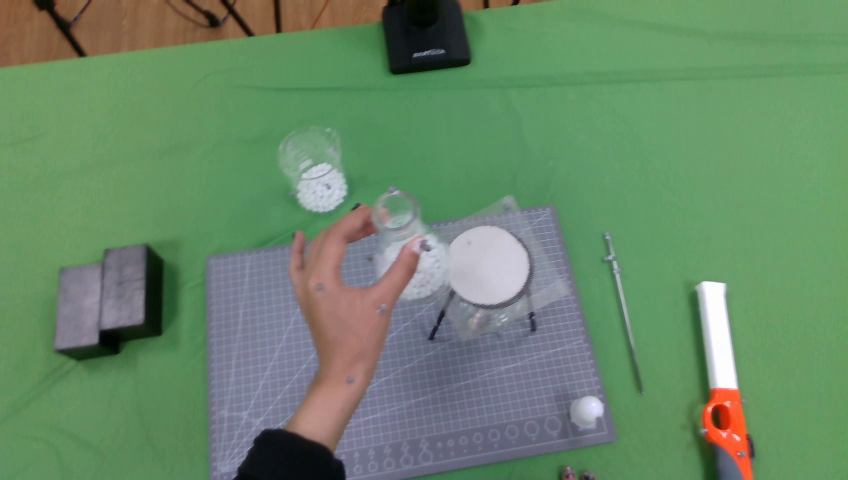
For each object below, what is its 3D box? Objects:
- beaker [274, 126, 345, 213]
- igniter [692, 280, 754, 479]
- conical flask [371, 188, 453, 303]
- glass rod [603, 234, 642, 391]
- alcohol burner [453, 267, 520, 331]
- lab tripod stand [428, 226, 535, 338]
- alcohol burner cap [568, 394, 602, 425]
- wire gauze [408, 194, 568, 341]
[{"bbox_3d":[-0.137,-0.085,0.758,0.073,0.101,0.084,37,71,14],"label":"beaker"},{"bbox_3d":[0.337,0.178,0.687,0.057,0.025,0.274,7,67,-8],"label":"igniter"},{"bbox_3d":[-0.016,0.001,0.515,0.075,0.123,0.075,-2,66,6],"label":"conical flask"},{"bbox_3d":[0.239,0.084,0.736,0.008,0.008,0.198,-4,67,-2],"label":"glass rod"},{"bbox_3d":[0.073,0.061,0.686,0.078,0.120,0.077,1,67,-1],"label":"alcohol burner"},{"bbox_3d":[0.065,0.054,0.678,0.148,0.132,0.147,0,69,0],"label":"lab tripod stand"},{"bbox_3d":[0.181,0.186,0.672,0.034,0.048,0.033,0,67,0],"label":"alcohol burner cap"},{"bbox_3d":[0.064,0.026,0.616,0.125,0.011,0.120,-25,71,-8],"label":"wire gauze"}]
